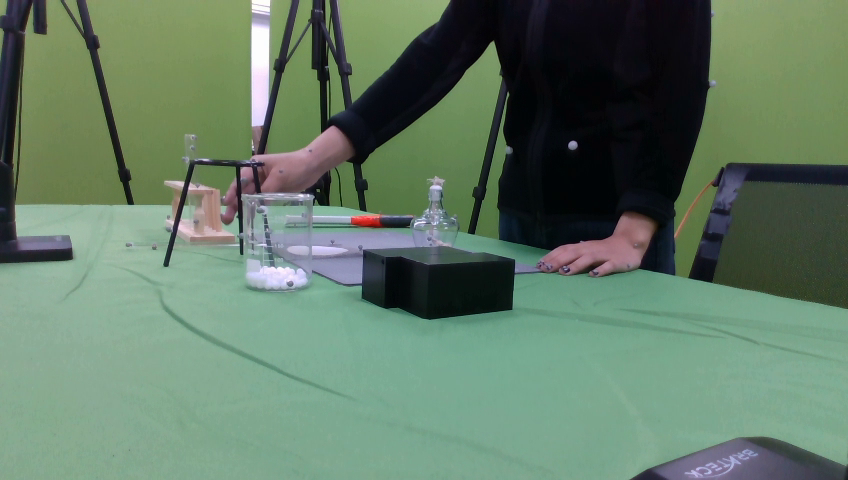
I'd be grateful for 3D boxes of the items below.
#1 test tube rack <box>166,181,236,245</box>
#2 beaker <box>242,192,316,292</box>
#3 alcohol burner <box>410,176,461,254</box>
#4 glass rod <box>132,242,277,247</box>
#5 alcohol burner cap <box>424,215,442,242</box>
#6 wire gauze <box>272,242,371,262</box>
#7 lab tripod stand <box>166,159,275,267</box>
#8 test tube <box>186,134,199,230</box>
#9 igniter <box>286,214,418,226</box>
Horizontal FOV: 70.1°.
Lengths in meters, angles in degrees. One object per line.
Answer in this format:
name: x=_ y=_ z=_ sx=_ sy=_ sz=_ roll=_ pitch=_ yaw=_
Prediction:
test tube rack: x=-0.383 y=-0.051 z=1.024 sx=0.067 sy=0.085 sz=0.241 roll=-2 pitch=9 yaw=-31
beaker: x=-0.157 y=0.000 z=0.642 sx=0.084 sy=0.100 sz=0.074 roll=4 pitch=7 yaw=19
alcohol burner: x=0.018 y=-0.040 z=0.931 sx=0.078 sy=0.119 sz=0.078 roll=0 pitch=7 yaw=0
glass rod: x=-0.316 y=0.007 z=0.885 sx=0.201 sy=0.008 sz=0.008 roll=0 pitch=7 yaw=-27
alcohol burner cap: x=0.017 y=-0.022 z=1.098 sx=0.034 sy=0.048 sz=0.034 roll=2 pitch=9 yaw=0
wire gauze: x=-0.156 y=0.014 z=0.877 sx=0.122 sy=0.011 sz=0.124 roll=-3 pitch=10 yaw=-29
lab tripod stand: x=-0.249 y=-0.036 z=0.764 sx=0.148 sy=0.131 sz=0.148 roll=2 pitch=9 yaw=0
test tube: x=-0.360 y=-0.089 z=0.946 sx=0.017 sy=0.150 sz=0.017 roll=0 pitch=10 yaw=0
igniter: x=-0.145 y=-0.043 z=1.262 sx=0.278 sy=0.025 sz=0.057 roll=-1 pitch=-2 yaw=-25
